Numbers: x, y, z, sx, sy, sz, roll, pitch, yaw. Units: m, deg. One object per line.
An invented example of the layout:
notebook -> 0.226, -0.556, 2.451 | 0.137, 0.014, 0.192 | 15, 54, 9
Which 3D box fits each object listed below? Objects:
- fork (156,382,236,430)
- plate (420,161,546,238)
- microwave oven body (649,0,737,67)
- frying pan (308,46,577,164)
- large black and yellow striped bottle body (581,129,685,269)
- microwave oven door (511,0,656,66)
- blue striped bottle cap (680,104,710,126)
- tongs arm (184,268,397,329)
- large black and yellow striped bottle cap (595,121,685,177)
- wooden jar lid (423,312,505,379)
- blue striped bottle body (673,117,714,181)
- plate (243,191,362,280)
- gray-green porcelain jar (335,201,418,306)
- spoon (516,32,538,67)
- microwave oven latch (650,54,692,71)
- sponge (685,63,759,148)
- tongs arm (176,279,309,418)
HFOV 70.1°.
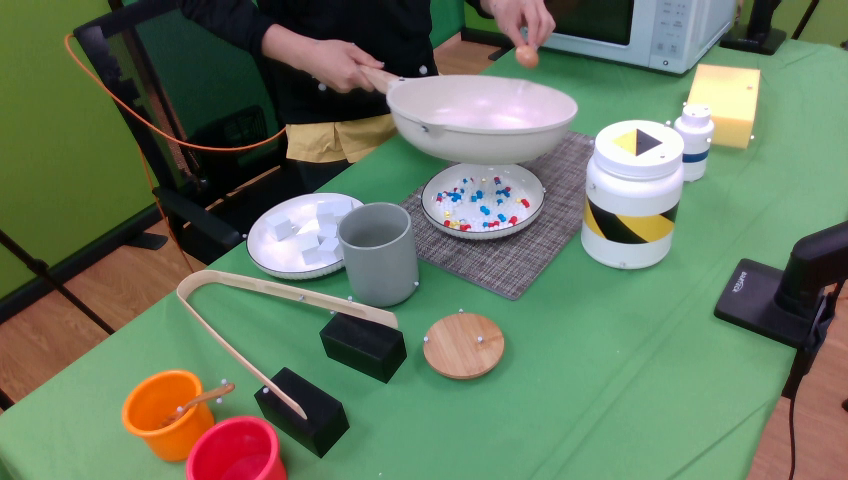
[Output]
fork -> -0.262, 0.189, 0.690 | 0.018, 0.206, 0.028 | 49, 43, -7
plate -> 0.099, -0.067, 1.017 | 0.209, 0.038, 0.208 | -4, 40, 4
microwave oven body -> 0.475, -0.602, 1.411 | 0.438, 0.261, 0.327 | 23, 50, 32
frying pan -> 0.001, -0.237, 0.978 | 0.485, 0.103, 0.308 | 28, 35, 23
large black and yellow striped bottle body -> 0.301, -0.063, 0.877 | 0.131, 0.185, 0.130 | -4, 41, 4
microwave oven door -> 0.351, -0.540, 1.349 | 0.353, 0.245, 0.039 | 24, 50, 31
blue striped bottle cap -> 0.443, -0.205, 0.989 | 0.044, 0.021, 0.044 | -1, 41, 2
tongs arm -> -0.202, 0.084, 0.848 | 0.382, 0.027, 0.051 | 11, 45, 34
large black and yellow striped bottle cap -> 0.292, -0.126, 0.821 | 0.115, 0.019, 0.114 | -5, 40, 4
wooden jar lid -> 0.053, 0.142, 0.800 | 0.108, 0.021, 0.108 | -5, 39, 4
blue striped bottle body -> 0.449, -0.165, 1.022 | 0.063, 0.121, 0.063 | -4, 41, 4
plate -> -0.188, -0.005, 0.992 | 0.207, 0.039, 0.206 | -3, 41, 3
gray-green porcelain jar -> -0.064, 0.024, 0.872 | 0.106, 0.127, 0.105 | -4, 41, 4
spoon -> 0.177, -0.325, 1.018 | 0.042, 0.021, 0.193 | 29, 30, -4
microwave oven latch -> 0.531, -0.386, 1.301 | 0.078, 0.029, 0.030 | 25, 51, 32
sponge -> 0.569, -0.263, 1.164 | 0.117, 0.061, 0.207 | 12, 45, 22
tongs arm -> -0.255, 0.132, 0.801 | 0.028, 0.028, 0.384 | -41, 40, -23
